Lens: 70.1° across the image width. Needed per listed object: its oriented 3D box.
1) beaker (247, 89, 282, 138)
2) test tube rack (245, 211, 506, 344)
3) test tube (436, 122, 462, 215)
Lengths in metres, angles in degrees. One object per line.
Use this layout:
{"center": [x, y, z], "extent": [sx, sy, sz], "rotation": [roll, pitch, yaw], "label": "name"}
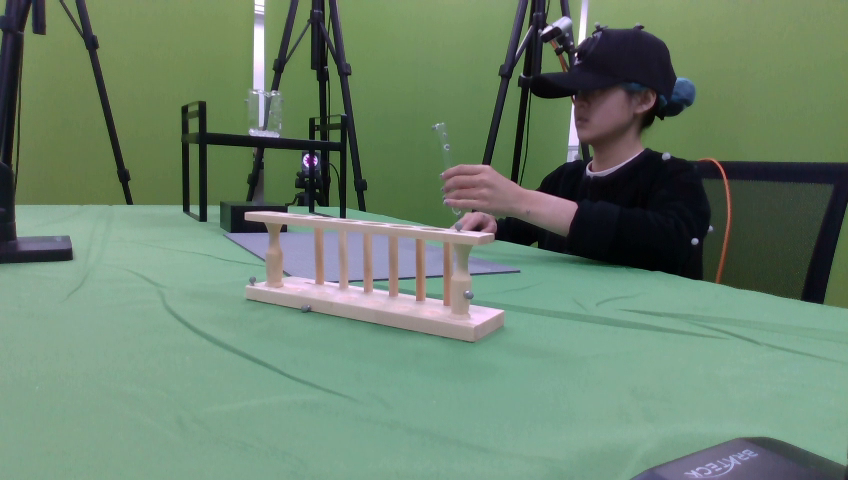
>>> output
{"center": [-0.347, -0.274, 1.320], "extent": [0.074, 0.100, 0.083], "rotation": [-1, 9, -27], "label": "beaker"}
{"center": [-0.049, 0.025, 0.547], "extent": [0.241, 0.085, 0.067], "rotation": [7, 8, 28], "label": "test tube rack"}
{"center": [0.041, -0.113, 0.965], "extent": [0.017, 0.150, 0.017], "rotation": [-11, 12, 3], "label": "test tube"}
